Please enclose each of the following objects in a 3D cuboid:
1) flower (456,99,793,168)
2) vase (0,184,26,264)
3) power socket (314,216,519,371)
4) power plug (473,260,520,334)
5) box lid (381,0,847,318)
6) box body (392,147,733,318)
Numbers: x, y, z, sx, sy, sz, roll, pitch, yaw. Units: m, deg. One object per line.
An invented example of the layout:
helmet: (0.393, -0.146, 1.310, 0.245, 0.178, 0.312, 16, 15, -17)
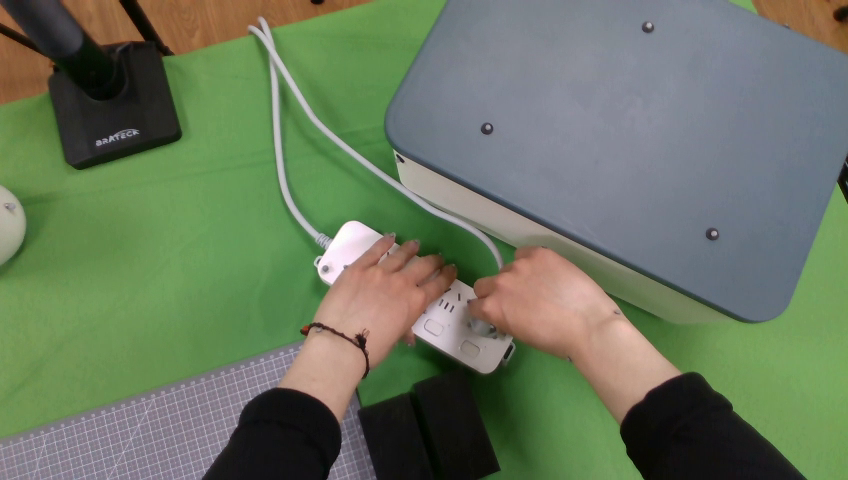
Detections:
flower: (0.205, -0.129, 0.670, 0.360, 0.038, 0.044, 13, 68, 19)
vase: (-0.450, -0.032, 0.535, 0.098, 0.200, 0.097, 1, 76, -2)
power socket: (-0.006, 0.054, 0.620, 0.226, 0.033, 0.072, 30, 78, 4)
power plug: (0.078, 0.061, 0.598, 0.035, 0.053, 0.072, 41, 80, 8)
box lid: (0.177, -0.120, 0.521, 0.371, 0.015, 0.262, 26, 80, 3)
box body: (0.173, -0.105, 0.593, 0.364, 0.161, 0.253, 26, 79, 3)
